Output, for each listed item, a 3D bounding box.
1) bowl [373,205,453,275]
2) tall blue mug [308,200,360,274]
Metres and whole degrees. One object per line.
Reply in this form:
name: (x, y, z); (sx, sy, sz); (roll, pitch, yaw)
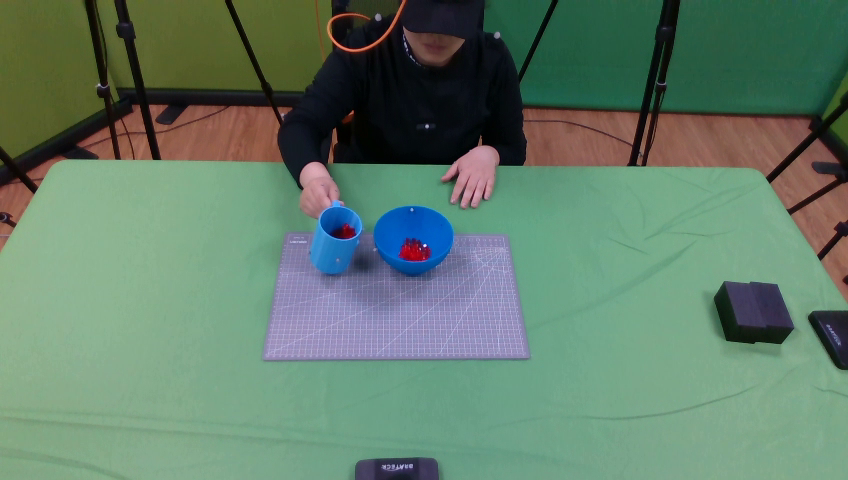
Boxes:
bowl: (-0.022, 0.013, 1.143); (0.151, 0.077, 0.150); (2, 46, -2)
tall blue mug: (-0.171, -0.011, 1.091); (0.078, 0.108, 0.106); (-23, 66, -33)
